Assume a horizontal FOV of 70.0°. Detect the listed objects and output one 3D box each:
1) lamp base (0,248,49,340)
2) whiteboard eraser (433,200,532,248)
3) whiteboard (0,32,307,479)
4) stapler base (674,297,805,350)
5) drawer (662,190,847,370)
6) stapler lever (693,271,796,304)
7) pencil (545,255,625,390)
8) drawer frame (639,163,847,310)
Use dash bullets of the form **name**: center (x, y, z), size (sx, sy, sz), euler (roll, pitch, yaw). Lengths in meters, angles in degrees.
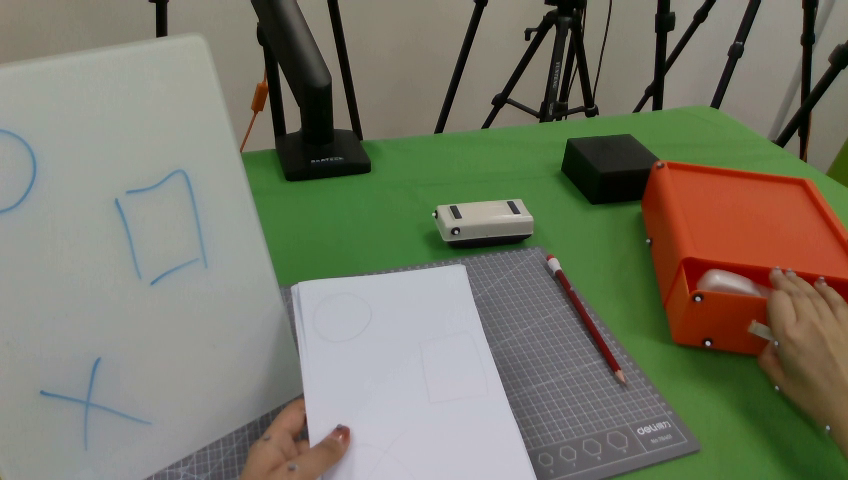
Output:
- **lamp base**: center (-0.457, -0.006, 0.536), size (0.178, 0.182, 0.160), euler (15, 37, 18)
- **whiteboard eraser**: center (0.070, -0.019, 0.732), size (0.113, 0.042, 0.055), euler (-4, 37, -12)
- **whiteboard**: center (-0.250, 0.018, 0.468), size (0.217, 0.307, 0.142), euler (-24, 25, -32)
- **stapler base**: center (0.328, 0.079, 0.625), size (0.130, 0.024, 0.041), euler (14, 33, 0)
- **drawer**: center (0.358, 0.033, 0.657), size (0.194, 0.074, 0.210), euler (8, 36, 6)
- **stapler lever**: center (0.333, 0.061, 0.614), size (0.118, 0.040, 0.026), euler (11, 33, 2)
- **pencil**: center (0.164, 0.079, 0.629), size (0.012, 0.012, 0.192), euler (-5, 39, -12)
- **drawer frame**: center (0.366, 0.004, 0.697), size (0.201, 0.083, 0.212), euler (7, 35, 5)
